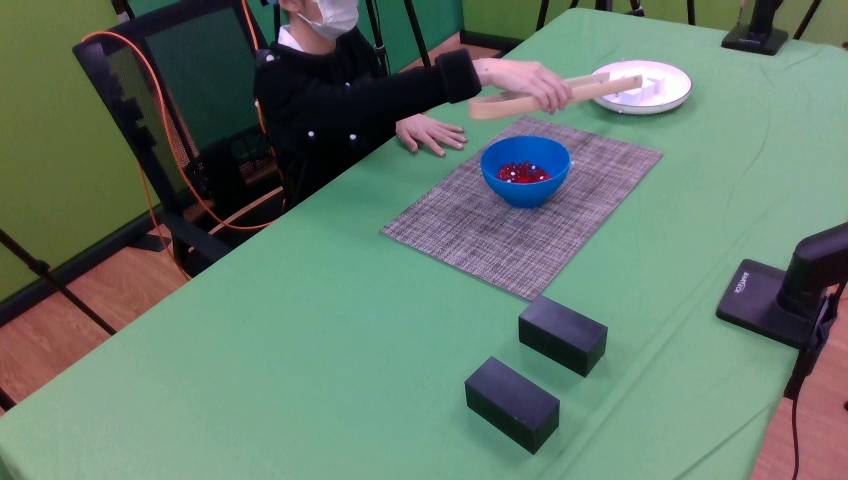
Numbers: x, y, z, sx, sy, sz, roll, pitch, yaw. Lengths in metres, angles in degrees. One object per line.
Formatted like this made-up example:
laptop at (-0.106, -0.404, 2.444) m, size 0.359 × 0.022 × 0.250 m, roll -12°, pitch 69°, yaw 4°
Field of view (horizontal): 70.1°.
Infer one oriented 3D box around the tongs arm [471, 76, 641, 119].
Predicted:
tongs arm at (0.243, -0.254, 1.058) m, size 0.387 × 0.026 × 0.050 m, roll -19°, pitch 29°, yaw -33°

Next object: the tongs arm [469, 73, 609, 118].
tongs arm at (0.218, -0.266, 1.091) m, size 0.390 × 0.028 × 0.028 m, roll -20°, pitch 33°, yaw -35°

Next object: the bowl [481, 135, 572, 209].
bowl at (0.172, -0.106, 1.025) m, size 0.151 × 0.077 × 0.150 m, roll -4°, pitch 40°, yaw 4°

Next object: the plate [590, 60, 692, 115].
plate at (0.445, -0.313, 1.263) m, size 0.209 × 0.038 × 0.208 m, roll -5°, pitch 40°, yaw 4°
